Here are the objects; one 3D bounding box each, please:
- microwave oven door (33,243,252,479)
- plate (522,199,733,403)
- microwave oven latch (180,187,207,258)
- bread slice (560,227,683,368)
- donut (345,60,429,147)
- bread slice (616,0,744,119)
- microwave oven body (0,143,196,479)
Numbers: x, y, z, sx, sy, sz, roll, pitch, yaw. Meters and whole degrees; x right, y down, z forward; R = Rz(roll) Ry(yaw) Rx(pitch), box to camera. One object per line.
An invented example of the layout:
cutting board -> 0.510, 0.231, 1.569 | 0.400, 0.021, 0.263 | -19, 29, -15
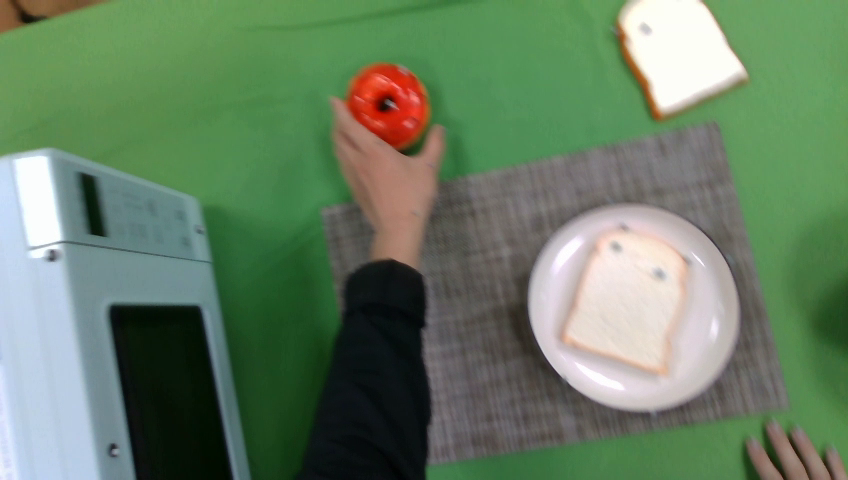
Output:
microwave oven door -> -0.238, 0.185, 0.563 | 0.039, 0.244, 0.354 | -14, 83, 6
plate -> 0.207, 0.062, 0.632 | 0.207, 0.039, 0.207 | -1, 85, 7
microwave oven latch -> -0.269, -0.018, 0.686 | 0.030, 0.029, 0.079 | -13, 84, 6
bread slice -> 0.208, 0.054, 0.632 | 0.107, 0.018, 0.134 | 14, 87, 8
donut -> -0.042, -0.153, 0.683 | 0.099, 0.048, 0.099 | -1, 86, 10
bread slice -> 0.272, -0.211, 0.661 | 0.105, 0.019, 0.131 | -25, 84, 4
microwave oven body -> -0.388, 0.178, 0.587 | 0.326, 0.261, 0.440 | -13, 84, 6
